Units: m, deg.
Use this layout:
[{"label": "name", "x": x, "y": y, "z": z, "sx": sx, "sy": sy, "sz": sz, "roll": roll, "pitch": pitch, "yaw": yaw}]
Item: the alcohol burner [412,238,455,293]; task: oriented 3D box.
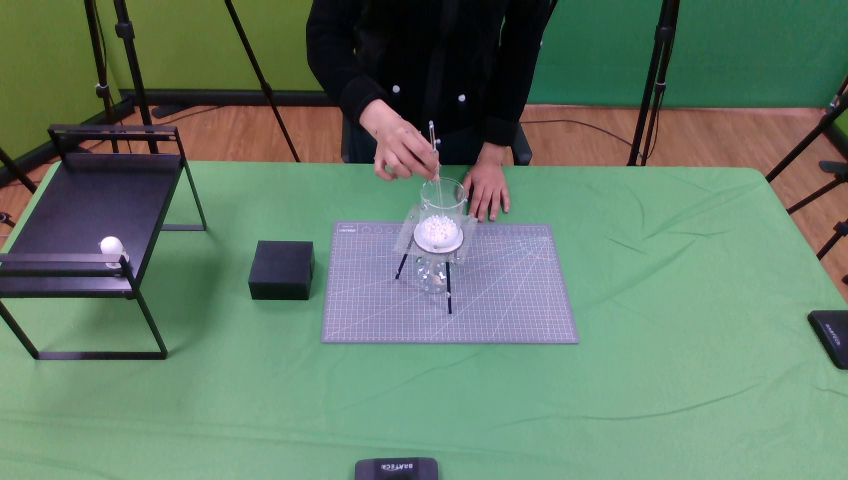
[{"label": "alcohol burner", "x": 0.019, "y": 0.040, "z": 1.094, "sx": 0.078, "sy": 0.119, "sz": 0.077, "roll": 3, "pitch": 45, "yaw": -3}]

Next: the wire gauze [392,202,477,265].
[{"label": "wire gauze", "x": 0.021, "y": -0.011, "z": 1.038, "sx": 0.121, "sy": 0.011, "sz": 0.124, "roll": 13, "pitch": 49, "yaw": 9}]

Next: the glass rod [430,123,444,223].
[{"label": "glass rod", "x": 0.021, "y": -0.100, "z": 0.956, "sx": 0.008, "sy": 0.201, "sz": 0.008, "roll": -4, "pitch": 45, "yaw": 4}]

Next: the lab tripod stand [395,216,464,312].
[{"label": "lab tripod stand", "x": 0.023, "y": 0.037, "z": 1.084, "sx": 0.148, "sy": 0.132, "sz": 0.147, "roll": 4, "pitch": 46, "yaw": -4}]

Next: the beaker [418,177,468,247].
[{"label": "beaker", "x": 0.026, "y": -0.045, "z": 1.004, "sx": 0.074, "sy": 0.101, "sz": 0.083, "roll": -20, "pitch": 51, "yaw": -23}]

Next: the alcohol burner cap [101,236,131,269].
[{"label": "alcohol burner cap", "x": -0.452, "y": 0.016, "z": 0.883, "sx": 0.034, "sy": 0.048, "sz": 0.033, "roll": 2, "pitch": 47, "yaw": -1}]
